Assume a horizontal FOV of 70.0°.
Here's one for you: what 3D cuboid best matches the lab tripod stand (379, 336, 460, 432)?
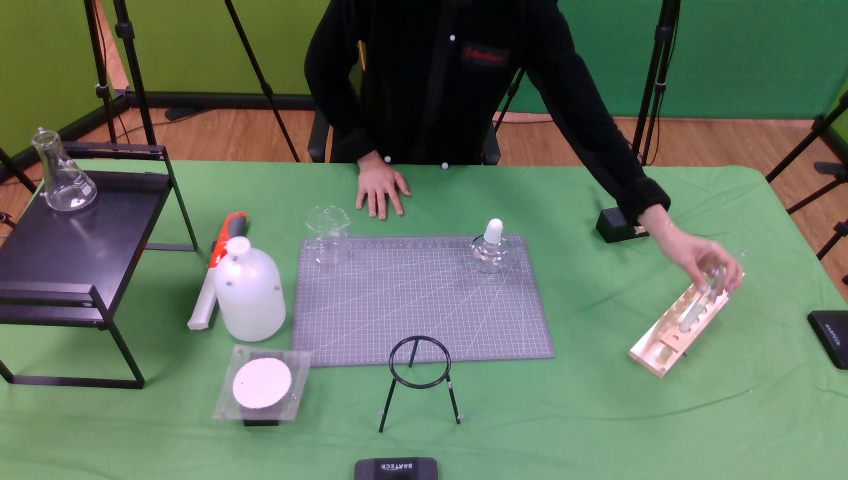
[{"bbox_3d":[-0.010,0.214,0.911,0.148,0.132,0.147,1,45,-1],"label":"lab tripod stand"}]

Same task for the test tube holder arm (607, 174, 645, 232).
[{"bbox_3d":[0.411,-0.080,1.238,0.013,0.015,0.177,1,41,-13],"label":"test tube holder arm"}]

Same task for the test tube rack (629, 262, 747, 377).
[{"bbox_3d":[0.464,0.126,1.060,0.242,0.085,0.066,-34,56,-30],"label":"test tube rack"}]

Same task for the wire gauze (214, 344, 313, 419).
[{"bbox_3d":[-0.241,0.213,0.915,0.121,0.011,0.124,5,46,1],"label":"wire gauze"}]

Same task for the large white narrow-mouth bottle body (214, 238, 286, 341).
[{"bbox_3d":[-0.285,0.073,0.986,0.102,0.195,0.101,2,46,-2],"label":"large white narrow-mouth bottle body"}]

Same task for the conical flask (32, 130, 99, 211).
[{"bbox_3d":[-0.565,-0.111,0.944,0.075,0.122,0.075,2,46,-2],"label":"conical flask"}]

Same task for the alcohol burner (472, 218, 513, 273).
[{"bbox_3d":[0.128,0.005,1.132,0.078,0.120,0.077,0,47,0],"label":"alcohol burner"}]

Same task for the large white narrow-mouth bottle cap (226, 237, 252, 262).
[{"bbox_3d":[-0.282,0.014,0.923,0.038,0.024,0.037,2,46,-2],"label":"large white narrow-mouth bottle cap"}]

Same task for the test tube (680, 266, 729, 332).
[{"bbox_3d":[0.432,0.095,0.938,0.017,0.151,0.017,4,45,-4],"label":"test tube"}]

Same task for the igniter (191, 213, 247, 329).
[{"bbox_3d":[-0.376,0.047,1.121,0.057,0.025,0.275,-4,46,6],"label":"igniter"}]

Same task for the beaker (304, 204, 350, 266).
[{"bbox_3d":[-0.178,-0.006,1.132,0.084,0.101,0.073,4,46,-1],"label":"beaker"}]

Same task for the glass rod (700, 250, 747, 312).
[{"bbox_3d":[0.500,0.076,1.020,0.008,0.201,0.008,0,54,1],"label":"glass rod"}]

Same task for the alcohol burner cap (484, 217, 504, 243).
[{"bbox_3d":[0.130,-0.021,1.107,0.034,0.048,0.033,5,46,-5],"label":"alcohol burner cap"}]

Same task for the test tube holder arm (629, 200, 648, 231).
[{"bbox_3d":[0.423,-0.050,1.206,0.010,0.015,0.087,1,41,-12],"label":"test tube holder arm"}]
